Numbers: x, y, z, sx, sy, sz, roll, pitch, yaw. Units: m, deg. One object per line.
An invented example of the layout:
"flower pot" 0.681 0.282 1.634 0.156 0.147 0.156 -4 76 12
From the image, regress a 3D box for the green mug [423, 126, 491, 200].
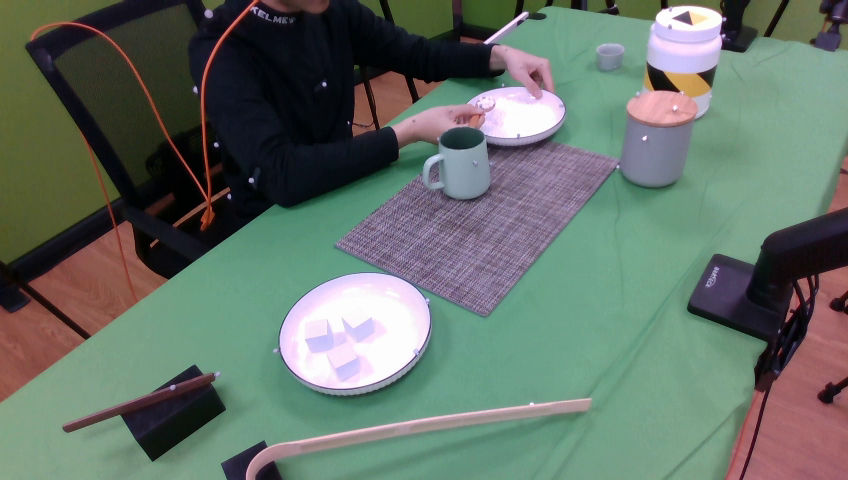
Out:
"green mug" 0.055 -0.126 1.039 0.126 0.105 0.091 -24 44 -19

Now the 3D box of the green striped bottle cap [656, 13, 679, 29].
"green striped bottle cap" 0.515 -0.463 1.278 0.044 0.020 0.044 -6 42 6

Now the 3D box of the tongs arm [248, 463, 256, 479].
"tongs arm" 0.012 0.262 0.615 0.385 0.026 0.050 3 41 -2

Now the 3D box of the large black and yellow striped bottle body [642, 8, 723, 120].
"large black and yellow striped bottle body" 0.493 -0.334 1.161 0.131 0.185 0.130 -4 41 4

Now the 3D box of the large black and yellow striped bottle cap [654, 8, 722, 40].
"large black and yellow striped bottle cap" 0.483 -0.397 1.108 0.115 0.019 0.114 -3 41 3

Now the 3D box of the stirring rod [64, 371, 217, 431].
"stirring rod" -0.337 0.192 0.724 0.177 0.014 0.005 -18 43 -12

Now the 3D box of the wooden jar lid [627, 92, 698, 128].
"wooden jar lid" 0.384 -0.207 0.980 0.108 0.021 0.108 -6 39 5

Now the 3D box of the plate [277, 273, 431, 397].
"plate" -0.091 0.129 0.821 0.207 0.039 0.206 -4 40 4

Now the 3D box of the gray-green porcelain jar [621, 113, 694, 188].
"gray-green porcelain jar" 0.390 -0.161 1.020 0.106 0.127 0.105 -4 41 4

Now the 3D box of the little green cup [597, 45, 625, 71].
"little green cup" 0.423 -0.413 1.375 0.061 0.039 0.061 -3 41 3

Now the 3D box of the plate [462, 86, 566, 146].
"plate" 0.179 -0.244 1.210 0.209 0.038 0.208 -4 41 4

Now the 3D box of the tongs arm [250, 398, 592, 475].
"tongs arm" 0.008 0.212 0.675 0.389 0.028 0.028 -5 45 -11

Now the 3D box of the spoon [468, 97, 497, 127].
"spoon" 0.105 -0.241 1.149 0.041 0.022 0.194 8 27 14

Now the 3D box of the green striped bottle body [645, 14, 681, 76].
"green striped bottle body" 0.520 -0.424 1.312 0.063 0.120 0.063 -4 41 4
